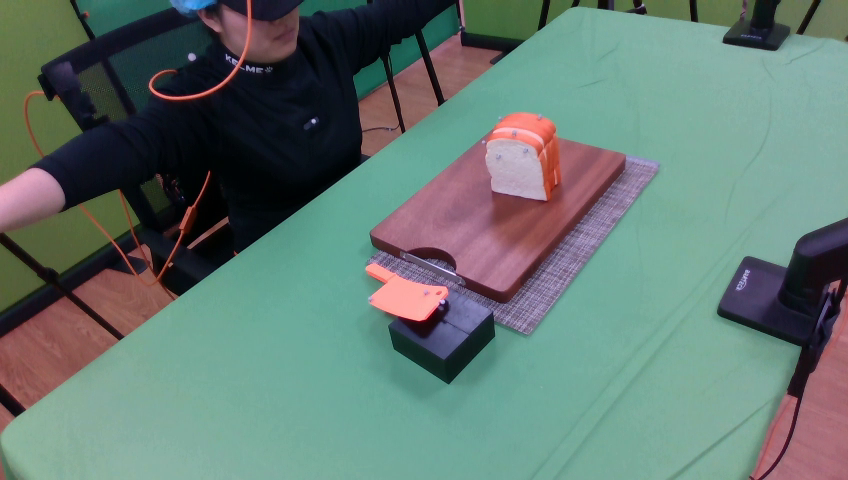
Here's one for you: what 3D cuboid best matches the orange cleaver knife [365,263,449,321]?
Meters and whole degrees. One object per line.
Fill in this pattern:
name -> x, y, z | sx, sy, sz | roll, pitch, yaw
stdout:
orange cleaver knife -> -0.042, 0.072, 0.870 | 0.077, 0.012, 0.209 | -37, 28, -23

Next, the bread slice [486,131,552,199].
bread slice -> 0.148, -0.119, 0.973 | 0.104, 0.132, 0.019 | 11, 54, 27

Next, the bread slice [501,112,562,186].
bread slice -> 0.176, -0.150, 1.002 | 0.106, 0.135, 0.018 | 16, 51, 23
